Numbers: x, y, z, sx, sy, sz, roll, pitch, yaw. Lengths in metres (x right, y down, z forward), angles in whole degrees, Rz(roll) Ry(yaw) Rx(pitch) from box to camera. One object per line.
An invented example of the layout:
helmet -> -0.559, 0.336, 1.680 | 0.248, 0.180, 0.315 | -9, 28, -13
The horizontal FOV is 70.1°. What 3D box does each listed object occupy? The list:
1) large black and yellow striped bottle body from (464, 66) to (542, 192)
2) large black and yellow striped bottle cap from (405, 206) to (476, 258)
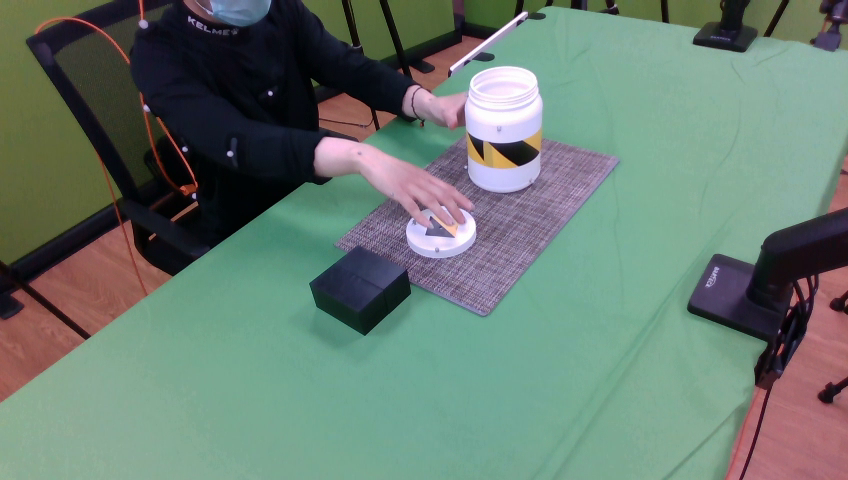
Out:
large black and yellow striped bottle body -> 0.136, -0.190, 1.040 | 0.131, 0.185, 0.130 | -4, 41, 4
large black and yellow striped bottle cap -> 0.026, -0.015, 0.981 | 0.115, 0.019, 0.114 | -2, 40, 3
